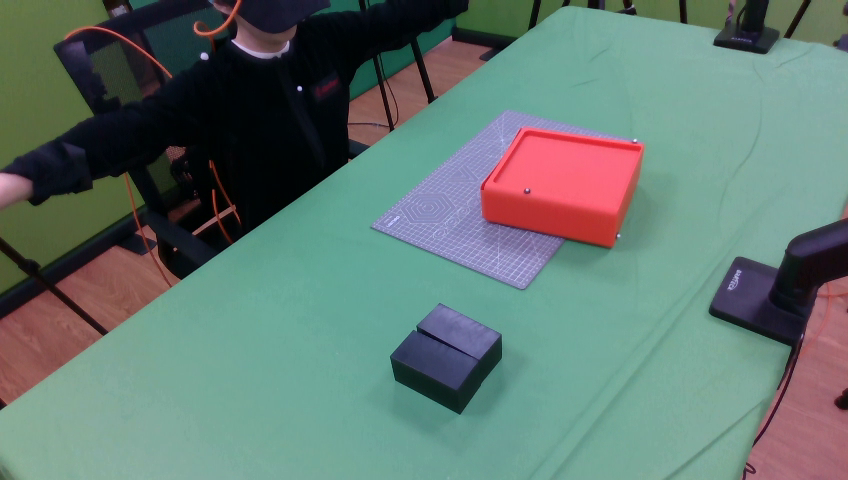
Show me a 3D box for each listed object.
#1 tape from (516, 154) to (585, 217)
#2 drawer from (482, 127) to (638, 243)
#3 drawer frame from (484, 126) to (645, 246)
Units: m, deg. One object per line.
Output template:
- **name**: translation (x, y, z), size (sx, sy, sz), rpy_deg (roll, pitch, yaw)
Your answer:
- **tape**: translation (0.211, -0.093, 1.010), size (0.117, 0.053, 0.116), rpy_deg (-6, 39, 5)
- **drawer**: translation (0.228, -0.097, 1.007), size (0.210, 0.073, 0.194), rpy_deg (14, 44, 23)
- **drawer frame**: translation (0.234, -0.096, 1.003), size (0.212, 0.083, 0.202), rpy_deg (14, 44, 22)
